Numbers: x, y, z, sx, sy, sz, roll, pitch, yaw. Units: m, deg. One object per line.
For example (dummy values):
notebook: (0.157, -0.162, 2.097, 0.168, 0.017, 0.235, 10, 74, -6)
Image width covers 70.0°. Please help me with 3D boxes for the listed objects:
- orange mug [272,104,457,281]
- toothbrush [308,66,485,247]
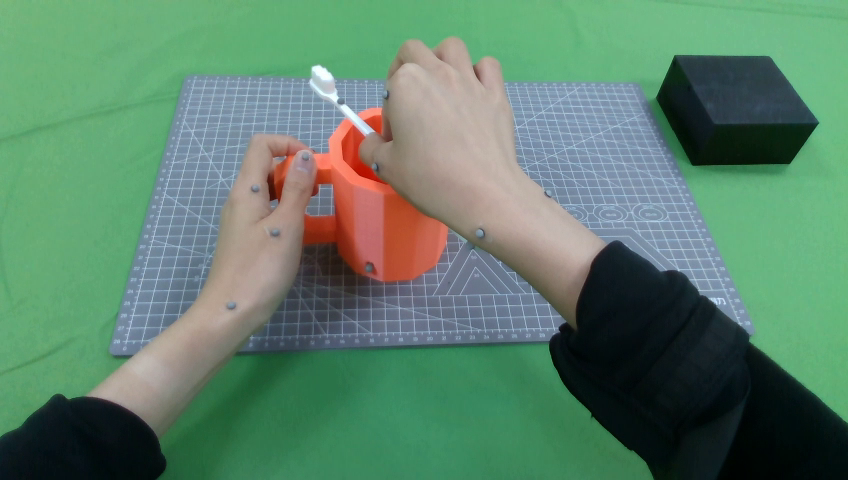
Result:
orange mug: (-0.042, -0.032, 0.432, 0.126, 0.101, 0.082, -2, 52, -13)
toothbrush: (-0.022, -0.058, 0.386, 0.014, 0.017, 0.180, -25, 59, -34)
